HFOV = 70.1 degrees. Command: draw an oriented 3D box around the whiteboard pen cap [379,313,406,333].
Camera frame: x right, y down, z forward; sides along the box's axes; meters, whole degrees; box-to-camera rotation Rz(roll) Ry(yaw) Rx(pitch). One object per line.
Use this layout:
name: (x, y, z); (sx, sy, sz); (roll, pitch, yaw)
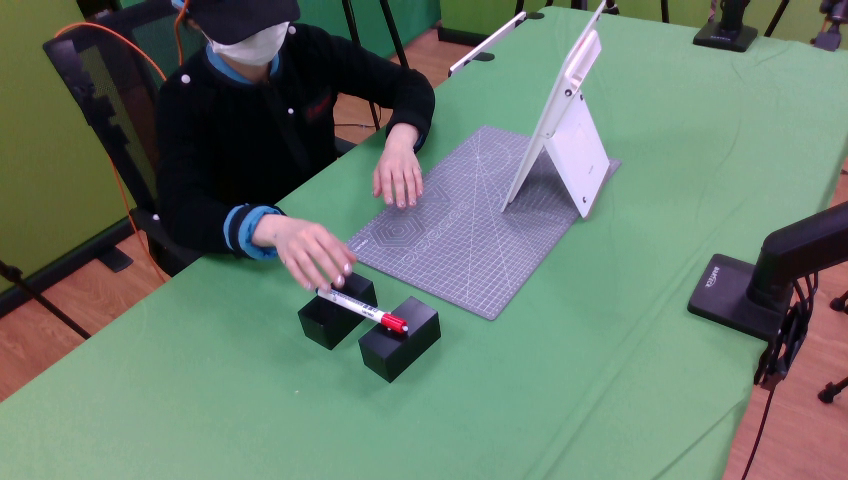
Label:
whiteboard pen cap: (-0.041, 0.106, 0.776); (0.032, 0.017, 0.017); (18, 46, 24)

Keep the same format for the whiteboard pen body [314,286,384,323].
whiteboard pen body: (-0.090, 0.089, 0.802); (0.139, 0.017, 0.017); (19, 47, 27)

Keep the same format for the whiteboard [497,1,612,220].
whiteboard: (0.260, -0.178, 0.963); (0.143, 0.306, 0.217); (28, 49, 9)
